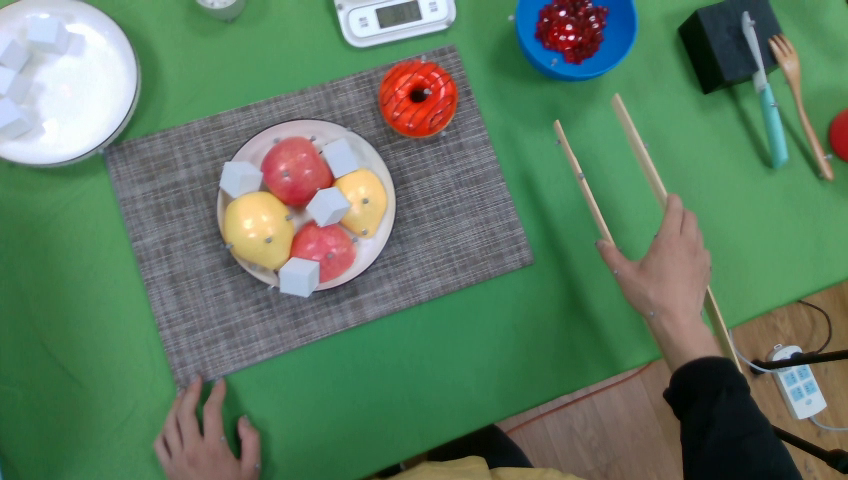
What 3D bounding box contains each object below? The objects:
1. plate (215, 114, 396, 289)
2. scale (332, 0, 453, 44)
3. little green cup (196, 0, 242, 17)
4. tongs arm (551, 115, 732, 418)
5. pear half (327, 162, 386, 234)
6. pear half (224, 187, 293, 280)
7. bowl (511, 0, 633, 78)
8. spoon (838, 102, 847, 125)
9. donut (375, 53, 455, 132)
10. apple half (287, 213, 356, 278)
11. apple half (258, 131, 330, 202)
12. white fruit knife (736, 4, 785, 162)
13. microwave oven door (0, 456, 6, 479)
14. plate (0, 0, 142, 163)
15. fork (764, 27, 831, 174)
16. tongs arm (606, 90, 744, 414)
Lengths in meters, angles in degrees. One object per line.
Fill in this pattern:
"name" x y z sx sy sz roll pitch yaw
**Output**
"plate" -0.138 -0.045 0.721 0.209 0.038 0.208 1 83 -6
"scale" -0.055 -0.360 0.776 0.149 0.031 0.200 -15 85 -7
"little green cup" -0.255 -0.308 0.747 0.061 0.038 0.061 1 82 -5
"tongs arm" 0.244 0.024 0.692 0.051 0.026 0.383 -22 84 -3
"pear half" -0.082 -0.051 0.721 0.070 0.031 0.087 -18 82 6
"pear half" -0.182 -0.006 0.691 0.076 0.056 0.110 -26 89 -16
"bowl" 0.176 -0.267 0.764 0.151 0.077 0.151 1 83 -5
"spoon" 0.604 -0.125 0.753 0.041 0.022 0.191 -24 41 -9
"donut" -0.012 -0.182 0.748 0.099 0.048 0.099 0 84 -3
"apple half" -0.123 0.005 0.707 0.081 0.033 0.081 1 76 -4
"apple half" -0.154 -0.087 0.708 0.074 0.053 0.081 -32 90 -6
"white fruit knife" 0.431 -0.199 0.779 0.016 0.027 0.208 -22 100 -8
"microwave oven door" -0.488 0.148 0.546 0.039 0.244 0.355 -17 84 -7
"plate" -0.438 -0.188 0.714 0.208 0.039 0.207 1 83 -5
"fork" 0.490 -0.179 0.789 0.028 0.018 0.208 -29 102 -10
"tongs arm" 0.284 0.007 0.693 0.028 0.028 0.386 -20 84 -6
